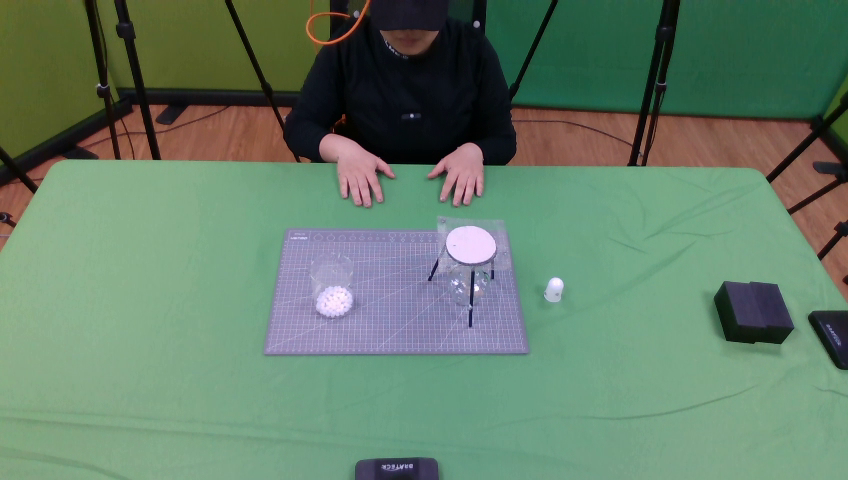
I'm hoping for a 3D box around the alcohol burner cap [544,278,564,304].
[{"bbox_3d":[0.241,0.090,1.118,0.034,0.048,0.033,2,45,-1],"label":"alcohol burner cap"}]

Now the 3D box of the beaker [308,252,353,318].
[{"bbox_3d":[-0.159,0.080,1.052,0.074,0.101,0.083,11,46,6],"label":"beaker"}]

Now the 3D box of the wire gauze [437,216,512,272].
[{"bbox_3d":[0.083,0.006,1.025,0.121,0.011,0.124,2,47,-4],"label":"wire gauze"}]

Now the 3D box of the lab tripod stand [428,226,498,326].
[{"bbox_3d":[0.079,0.056,1.070,0.148,0.132,0.147,3,47,-3],"label":"lab tripod stand"}]

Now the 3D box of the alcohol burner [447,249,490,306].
[{"bbox_3d":[0.079,0.062,1.078,0.078,0.120,0.077,1,45,-1],"label":"alcohol burner"}]
